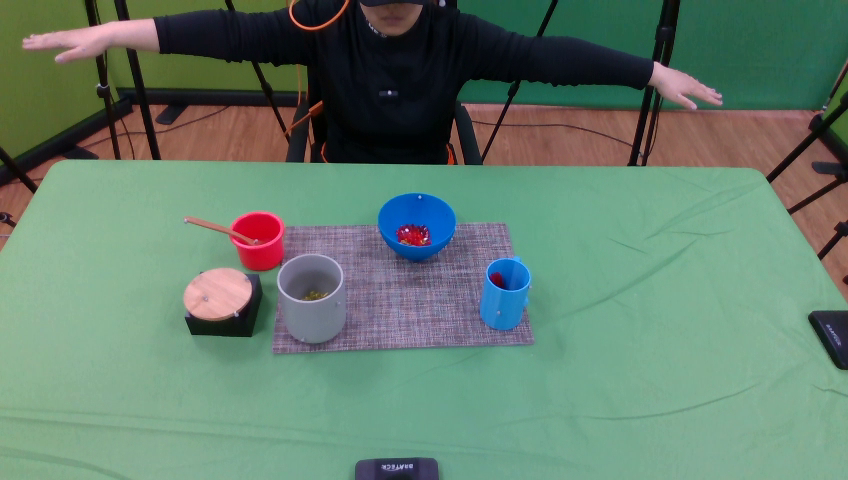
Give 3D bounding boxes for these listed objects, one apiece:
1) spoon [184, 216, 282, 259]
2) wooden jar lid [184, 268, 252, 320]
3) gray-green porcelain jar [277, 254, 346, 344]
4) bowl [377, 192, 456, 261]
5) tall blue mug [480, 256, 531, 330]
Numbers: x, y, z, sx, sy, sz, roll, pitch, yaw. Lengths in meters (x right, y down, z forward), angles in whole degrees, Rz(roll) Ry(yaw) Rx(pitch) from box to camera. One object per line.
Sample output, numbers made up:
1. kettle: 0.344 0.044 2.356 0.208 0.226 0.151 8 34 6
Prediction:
1. spoon: -0.341 -0.008 1.096 0.195 0.021 0.041 30 35 -41
2. wooden jar lid: -0.343 0.092 1.015 0.108 0.021 0.107 3 46 -3
3. gray-green porcelain jar: -0.184 0.102 1.008 0.106 0.127 0.105 2 46 -2
4. bowl: -0.015 -0.013 1.166 0.151 0.077 0.150 2 46 -2
5. tall blue mug: 0.139 0.084 1.061 0.078 0.108 0.106 -2 46 -4
